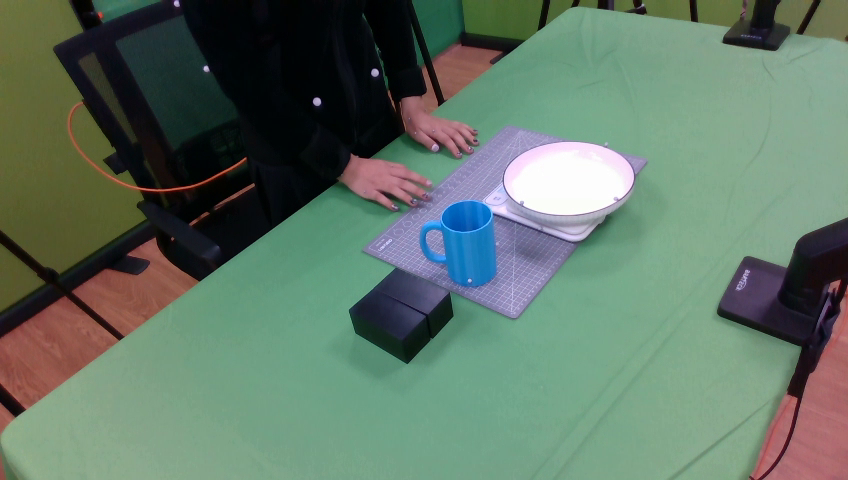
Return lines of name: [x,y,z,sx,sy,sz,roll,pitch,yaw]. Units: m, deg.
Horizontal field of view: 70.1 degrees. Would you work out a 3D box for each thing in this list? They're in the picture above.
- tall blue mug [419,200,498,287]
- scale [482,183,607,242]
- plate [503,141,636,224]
tall blue mug: [0.053,0.010,0.889,0.107,0.108,0.077,-16,41,-7]
scale: [0.211,-0.070,1.014,0.199,0.032,0.149,23,49,33]
plate: [0.233,-0.091,0.983,0.209,0.038,0.208,-5,41,5]
